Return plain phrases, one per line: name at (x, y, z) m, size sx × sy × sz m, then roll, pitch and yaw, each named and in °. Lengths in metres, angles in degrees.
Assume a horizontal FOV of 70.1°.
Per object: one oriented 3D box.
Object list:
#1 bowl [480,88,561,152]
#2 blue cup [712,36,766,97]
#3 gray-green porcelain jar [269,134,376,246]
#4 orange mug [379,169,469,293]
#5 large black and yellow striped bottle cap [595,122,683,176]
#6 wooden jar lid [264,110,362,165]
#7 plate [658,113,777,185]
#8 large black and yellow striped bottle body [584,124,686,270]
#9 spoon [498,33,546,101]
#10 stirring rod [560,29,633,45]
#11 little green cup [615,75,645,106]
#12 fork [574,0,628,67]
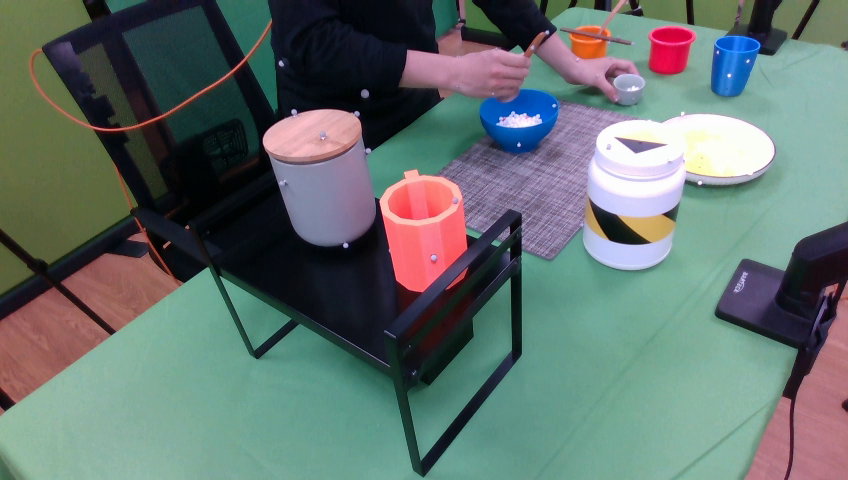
bowl at (0.185, -0.222, 1.160) m, size 0.151 × 0.077 × 0.150 m, roll -4°, pitch 40°, yaw 4°
blue cup at (0.627, -0.350, 1.227) m, size 0.092 × 0.100 × 0.092 m, roll -4°, pitch 39°, yaw 4°
gray-green porcelain jar at (-0.115, -0.064, 0.715) m, size 0.106 × 0.127 × 0.105 m, roll -4°, pitch 40°, yaw 4°
orange mug at (-0.002, -0.019, 0.665) m, size 0.083 × 0.101 × 0.125 m, roll -12°, pitch 45°, yaw -4°
large black and yellow striped bottle cap at (0.293, -0.126, 0.826) m, size 0.115 × 0.019 × 0.114 m, roll -3°, pitch 40°, yaw 3°
wooden jar lid at (-0.122, -0.112, 0.673) m, size 0.108 × 0.021 × 0.108 m, roll -4°, pitch 37°, yaw 4°
plate at (0.506, -0.158, 1.073) m, size 0.209 × 0.038 × 0.208 m, roll -5°, pitch 40°, yaw 4°
large black and yellow striped bottle body at (0.304, -0.063, 0.880) m, size 0.131 × 0.185 × 0.130 m, roll -5°, pitch 41°, yaw 5°
spoon at (0.168, -0.293, 1.043) m, size 0.042 × 0.194 × 0.021 m, roll -10°, pitch 69°, yaw -15°
stirring rod at (0.381, -0.452, 1.345) m, size 0.174 × 0.006 × 0.014 m, roll 26°, pitch 49°, yaw 33°
little green cup at (0.424, -0.308, 1.252) m, size 0.061 × 0.039 × 0.061 m, roll -4°, pitch 47°, yaw 5°
fork at (0.413, -0.481, 1.377) m, size 0.207 × 0.019 × 0.028 m, roll -56°, pitch 43°, yaw 12°
